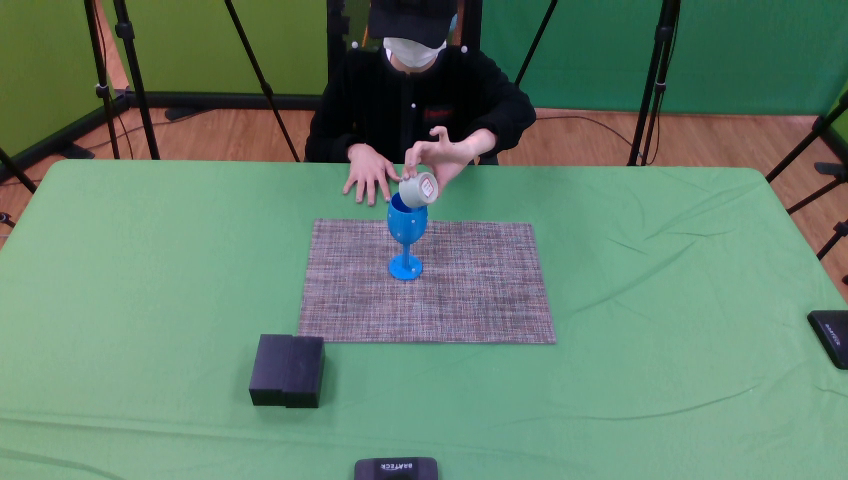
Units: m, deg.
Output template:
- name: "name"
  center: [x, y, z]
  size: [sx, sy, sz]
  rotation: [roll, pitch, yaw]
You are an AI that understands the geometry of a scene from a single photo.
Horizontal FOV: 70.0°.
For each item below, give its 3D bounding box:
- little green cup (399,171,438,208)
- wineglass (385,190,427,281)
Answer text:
- name: "little green cup"
  center: [-0.008, -0.085, 0.997]
  size: [0.038, 0.062, 0.061]
  rotation: [-3, 35, 40]
- name: "wineglass"
  center: [-0.034, -0.006, 1.091]
  size: [0.074, 0.173, 0.073]
  rotation: [2, 46, -2]
